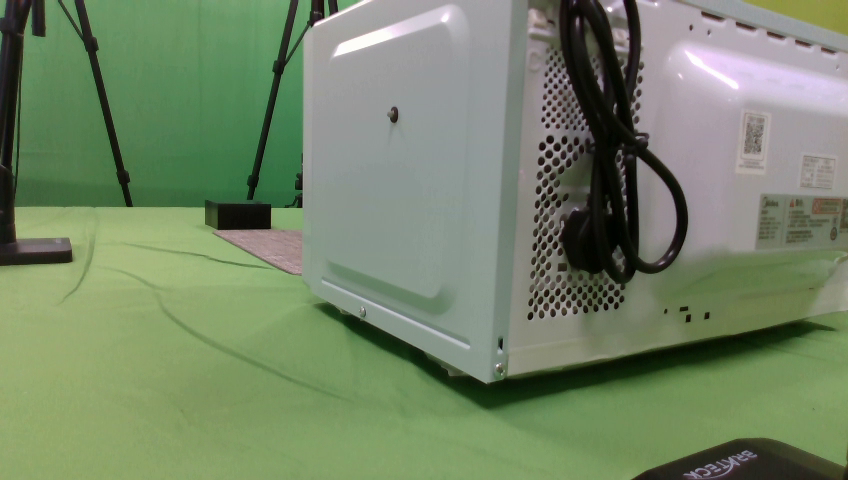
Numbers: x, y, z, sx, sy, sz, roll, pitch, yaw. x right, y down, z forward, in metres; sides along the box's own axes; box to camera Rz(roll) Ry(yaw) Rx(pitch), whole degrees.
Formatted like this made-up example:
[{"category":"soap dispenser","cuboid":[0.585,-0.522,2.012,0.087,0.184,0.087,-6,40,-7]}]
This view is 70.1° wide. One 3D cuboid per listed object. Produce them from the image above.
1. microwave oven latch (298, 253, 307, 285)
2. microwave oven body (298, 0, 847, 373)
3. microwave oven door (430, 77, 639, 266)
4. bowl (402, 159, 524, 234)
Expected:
[{"category":"microwave oven latch","cuboid":[-0.081,0.027,0.582,0.079,0.029,0.030,-1,7,-32]},{"category":"microwave oven body","cuboid":[0.151,-0.055,0.543,0.444,0.260,0.324,-1,7,-33]},{"category":"microwave oven door","cuboid":[0.143,-0.106,0.903,0.039,0.243,0.354,-4,9,-41]},{"category":"bowl","cuboid":[0.043,-0.052,0.747,0.151,0.077,0.151,7,10,-1]}]
